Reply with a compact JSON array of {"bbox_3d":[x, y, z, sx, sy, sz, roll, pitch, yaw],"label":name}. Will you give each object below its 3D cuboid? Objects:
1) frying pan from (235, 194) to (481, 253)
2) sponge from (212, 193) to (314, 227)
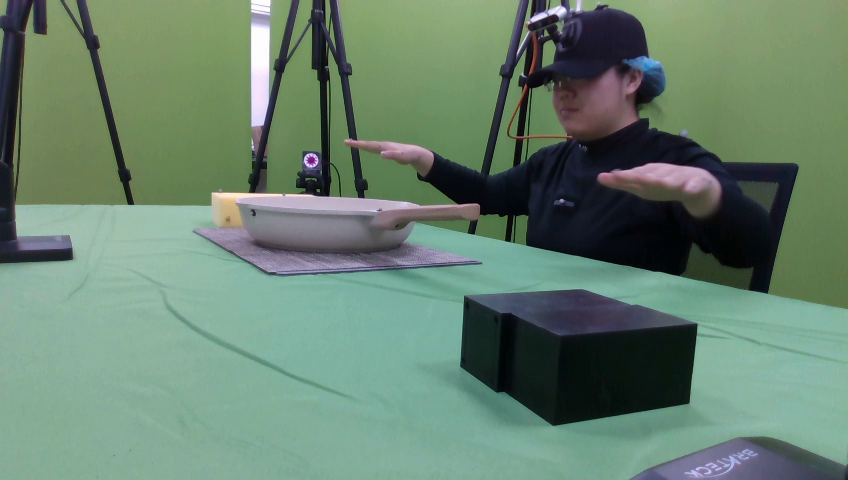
[{"bbox_3d":[-0.089,-0.034,0.891,0.308,0.102,0.485,-4,2,-36],"label":"frying pan"},{"bbox_3d":[-0.317,-0.063,1.233,0.208,0.061,0.117,-2,8,-27],"label":"sponge"}]
